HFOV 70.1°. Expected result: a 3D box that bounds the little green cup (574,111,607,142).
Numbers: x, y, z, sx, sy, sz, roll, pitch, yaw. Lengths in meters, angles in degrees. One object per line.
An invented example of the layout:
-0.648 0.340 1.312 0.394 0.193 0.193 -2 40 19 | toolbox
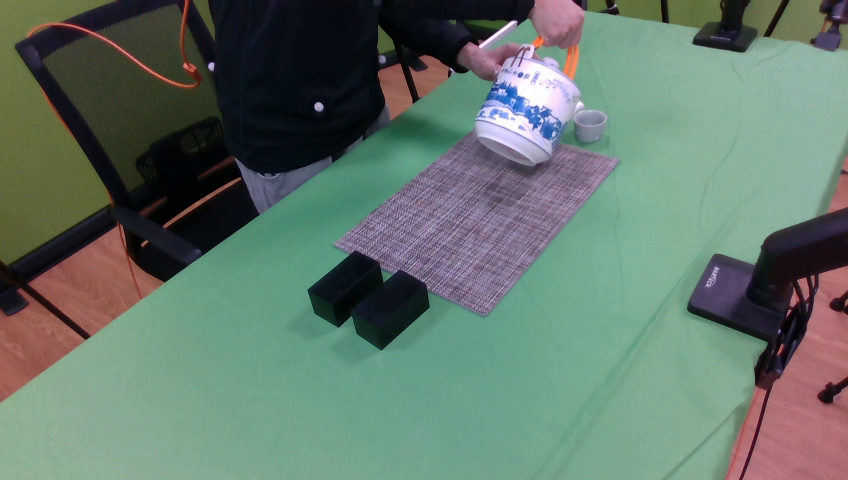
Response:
0.318 -0.218 1.164 0.061 0.039 0.061 -3 40 3 | little green cup

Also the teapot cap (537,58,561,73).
0.209 -0.286 1.033 0.084 0.086 0.044 28 89 35 | teapot cap

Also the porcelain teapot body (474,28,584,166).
0.209 -0.242 1.056 0.144 0.207 0.225 27 90 44 | porcelain teapot body
